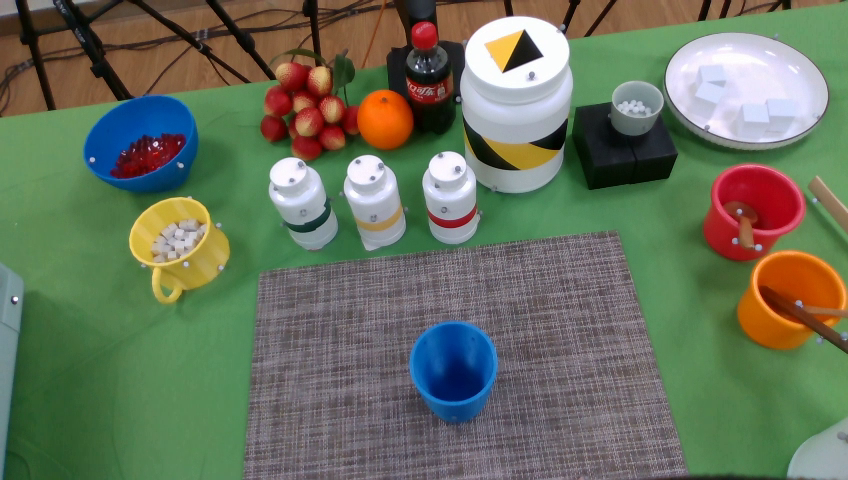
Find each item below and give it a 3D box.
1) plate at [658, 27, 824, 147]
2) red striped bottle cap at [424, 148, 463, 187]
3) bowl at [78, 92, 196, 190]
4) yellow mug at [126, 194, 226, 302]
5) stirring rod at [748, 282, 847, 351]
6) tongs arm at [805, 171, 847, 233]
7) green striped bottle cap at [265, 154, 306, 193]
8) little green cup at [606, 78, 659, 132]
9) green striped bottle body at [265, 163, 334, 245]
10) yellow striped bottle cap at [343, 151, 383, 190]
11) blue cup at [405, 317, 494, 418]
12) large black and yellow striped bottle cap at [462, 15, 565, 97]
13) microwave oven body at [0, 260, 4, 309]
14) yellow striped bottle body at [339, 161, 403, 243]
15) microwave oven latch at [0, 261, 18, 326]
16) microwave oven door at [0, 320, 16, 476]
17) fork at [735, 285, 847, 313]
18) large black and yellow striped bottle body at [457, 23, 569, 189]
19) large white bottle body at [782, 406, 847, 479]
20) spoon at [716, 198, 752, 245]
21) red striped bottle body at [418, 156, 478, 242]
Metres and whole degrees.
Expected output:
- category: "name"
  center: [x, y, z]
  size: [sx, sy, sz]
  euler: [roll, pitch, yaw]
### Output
- category: "plate"
  center: [0.422, -0.205, 0.822]
  size: [0.209, 0.038, 0.207]
  euler: [-2, 59, 5]
- category: "red striped bottle cap"
  center: [0.022, -0.082, 0.681]
  size: [0.044, 0.018, 0.044]
  euler: [-1, 57, 1]
- category: "bowl"
  center: [-0.379, -0.122, 0.834]
  size: [0.151, 0.077, 0.150]
  euler: [-2, 59, 4]
- category: "yellow mug"
  center: [-0.310, 0.015, 0.751]
  size: [0.100, 0.064, 0.130]
  euler: [2, 60, 6]
- category: "stirring rod"
  center: [0.373, 0.073, 0.603]
  size: [0.014, 0.006, 0.175]
  euler: [-5, 15, 1]
- category: "tongs arm"
  center: [0.549, 0.068, 0.645]
  size: [0.051, 0.027, 0.381]
  euler: [-17, 60, -6]
- category: "green striped bottle cap"
  center: [-0.160, -0.077, 0.698]
  size: [0.044, 0.020, 0.044]
  euler: [-2, 59, 3]
- category: "little green cup"
  center: [0.258, -0.167, 0.757]
  size: [0.061, 0.039, 0.061]
  euler: [-2, 57, 4]
- category: "green striped bottle body"
  center: [-0.153, -0.050, 0.742]
  size: [0.063, 0.120, 0.062]
  euler: [-3, 59, 5]
- category: "yellow striped bottle cap"
  center: [-0.069, -0.080, 0.690]
  size: [0.044, 0.019, 0.044]
  euler: [-2, 60, 4]
- category: "blue cup"
  center: [0.028, 0.138, 0.617]
  size: [0.092, 0.101, 0.092]
  euler: [-2, 58, 3]
- category: "large black and yellow striped bottle cap"
  center: [0.099, -0.206, 0.673]
  size: [0.115, 0.019, 0.114]
  euler: [-3, 58, 5]
- category: "microwave oven body"
  center: [-0.625, 0.200, 0.556]
  size: [0.326, 0.262, 0.437]
  euler: [-15, 59, -3]
- category: "yellow striped bottle body"
  center: [-0.064, -0.053, 0.734]
  size: [0.063, 0.121, 0.062]
  euler: [-3, 59, 6]
- category: "microwave oven latch"
  center: [-0.517, 0.067, 0.737]
  size: [0.030, 0.030, 0.078]
  euler: [-14, 59, -3]
- category: "microwave oven door"
  center: [-0.474, 0.194, 0.537]
  size: [0.039, 0.246, 0.352]
  euler: [-15, 59, -3]
- category: "fork"
  center: [0.403, 0.069, 0.594]
  size: [0.028, 0.019, 0.206]
  euler: [-41, 19, -17]
- category: "large black and yellow striped bottle body"
  center: [0.107, -0.164, 0.746]
  size: [0.131, 0.185, 0.129]
  euler: [-3, 59, 5]
- category: "large white bottle body"
  center: [0.398, 0.194, 0.498]
  size: [0.130, 0.186, 0.129]
  euler: [-3, 59, 5]
- category: "spoon"
  center: [0.341, -0.023, 0.659]
  size: [0.041, 0.194, 0.022]
  euler: [22, 109, 19]
- category: "red striped bottle body"
  center: [0.029, -0.054, 0.726]
  size: [0.063, 0.121, 0.062]
  euler: [-5, 57, 8]
